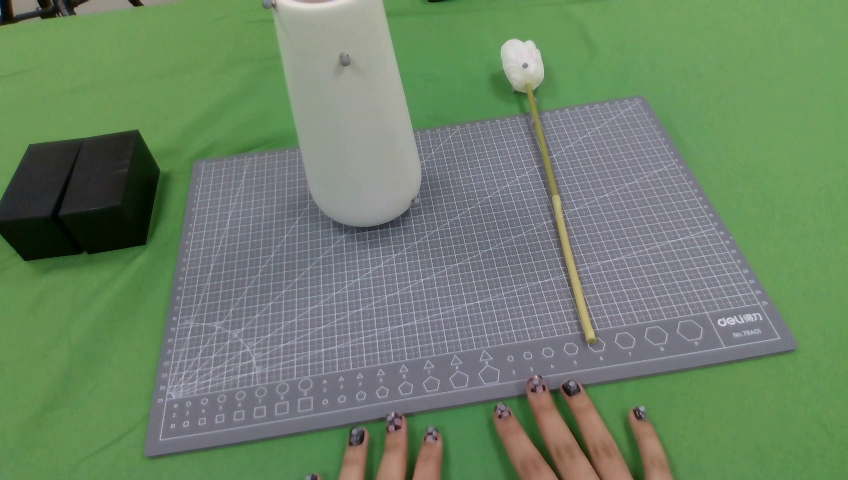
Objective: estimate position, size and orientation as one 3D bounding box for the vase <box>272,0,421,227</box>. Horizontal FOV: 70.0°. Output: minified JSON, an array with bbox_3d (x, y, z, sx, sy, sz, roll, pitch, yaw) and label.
[{"bbox_3d":[-0.058,-0.102,0.469,0.098,0.202,0.097,-4,48,4],"label":"vase"}]

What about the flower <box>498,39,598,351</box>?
[{"bbox_3d":[0.111,-0.063,0.546,0.044,0.038,0.358,18,48,-28],"label":"flower"}]
